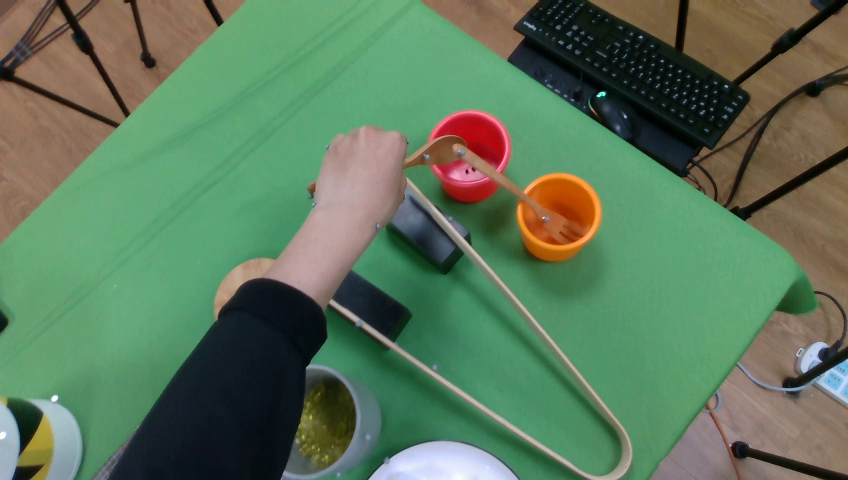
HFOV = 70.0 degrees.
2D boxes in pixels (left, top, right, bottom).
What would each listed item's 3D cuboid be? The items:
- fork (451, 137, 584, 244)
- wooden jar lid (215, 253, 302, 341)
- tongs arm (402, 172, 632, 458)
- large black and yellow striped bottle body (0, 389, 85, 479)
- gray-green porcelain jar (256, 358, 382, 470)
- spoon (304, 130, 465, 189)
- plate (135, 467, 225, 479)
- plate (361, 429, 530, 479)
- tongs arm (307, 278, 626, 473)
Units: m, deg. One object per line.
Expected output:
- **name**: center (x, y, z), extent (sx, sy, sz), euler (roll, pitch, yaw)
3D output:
- **fork**: center (0.107, -0.053, 0.670), extent (0.209, 0.018, 0.028), euler (33, 85, -30)
- **wooden jar lid**: center (-0.200, 0.069, 0.739), extent (0.108, 0.021, 0.108), euler (-1, 75, 6)
- **tongs arm**: center (0.098, 0.074, 0.665), extent (0.028, 0.028, 0.386), euler (-39, 84, -12)
- **large black and yellow striped bottle body**: center (-0.476, 0.222, 0.642), extent (0.130, 0.185, 0.130), euler (-2, 73, 7)
- **gray-green porcelain jar**: center (-0.103, 0.184, 0.639), extent (0.106, 0.127, 0.105), euler (-2, 73, 6)
- **spoon**: center (-0.034, -0.080, 0.613), extent (0.194, 0.042, 0.021), euler (-24, 65, -36)
- **plate**: center (-0.266, 0.352, 0.651), extent (0.209, 0.038, 0.208), euler (-2, 74, 7)
- **plate**: center (0.023, 0.306, 0.635), extent (0.207, 0.039, 0.206), euler (-2, 74, 7)
- **tongs arm**: center (0.042, 0.137, 0.653), extent (0.384, 0.026, 0.050), euler (36, 79, 5)
